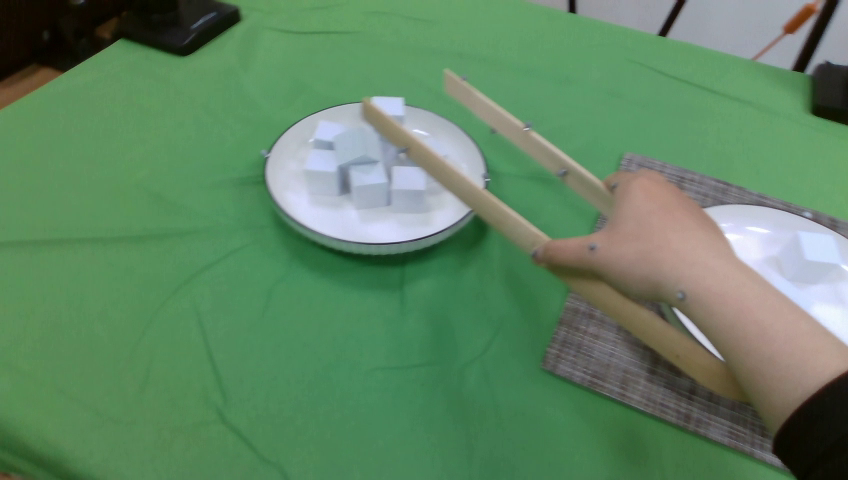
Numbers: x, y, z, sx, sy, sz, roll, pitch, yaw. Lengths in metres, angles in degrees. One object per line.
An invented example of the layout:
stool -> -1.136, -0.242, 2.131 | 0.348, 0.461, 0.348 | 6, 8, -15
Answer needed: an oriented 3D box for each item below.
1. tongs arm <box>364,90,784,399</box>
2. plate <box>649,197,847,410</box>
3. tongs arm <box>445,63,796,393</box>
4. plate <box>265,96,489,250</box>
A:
tongs arm -> 0.075, -0.017, 0.451 | 0.028, 0.028, 0.384 | -27, 54, -33
plate -> 0.287, 0.048, 0.500 | 0.208, 0.039, 0.205 | 2, 48, -2
tongs arm -> 0.117, -0.037, 0.475 | 0.051, 0.027, 0.381 | -25, 53, -28
plate -> -0.043, -0.064, 0.579 | 0.209, 0.038, 0.207 | 3, 47, -3
